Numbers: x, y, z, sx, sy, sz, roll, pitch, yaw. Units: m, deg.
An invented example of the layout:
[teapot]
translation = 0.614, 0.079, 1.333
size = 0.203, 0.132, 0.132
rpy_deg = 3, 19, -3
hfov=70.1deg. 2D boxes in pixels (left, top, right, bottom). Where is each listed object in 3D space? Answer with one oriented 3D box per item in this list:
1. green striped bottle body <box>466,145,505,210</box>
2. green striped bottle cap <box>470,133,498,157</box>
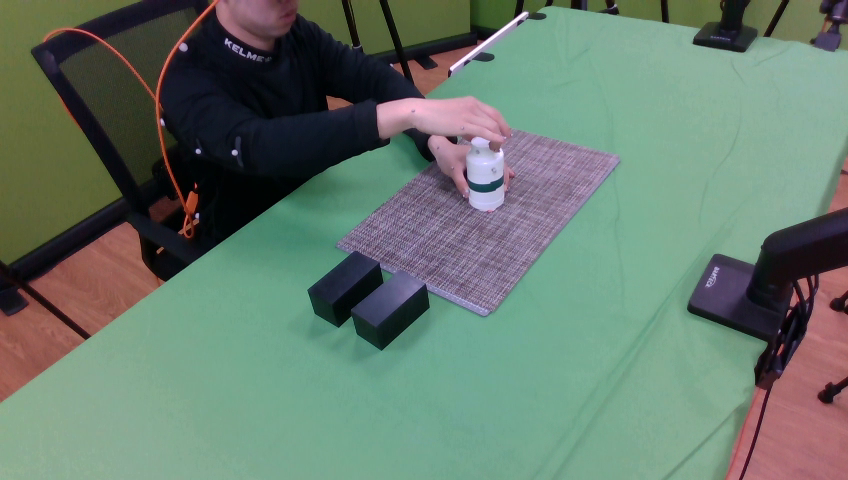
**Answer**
[green striped bottle body]
translation = 0.102, -0.113, 1.005
size = 0.063, 0.120, 0.063
rpy_deg = -4, 41, 4
[green striped bottle cap]
translation = 0.096, -0.152, 0.971
size = 0.044, 0.020, 0.044
rpy_deg = 0, 47, 0
